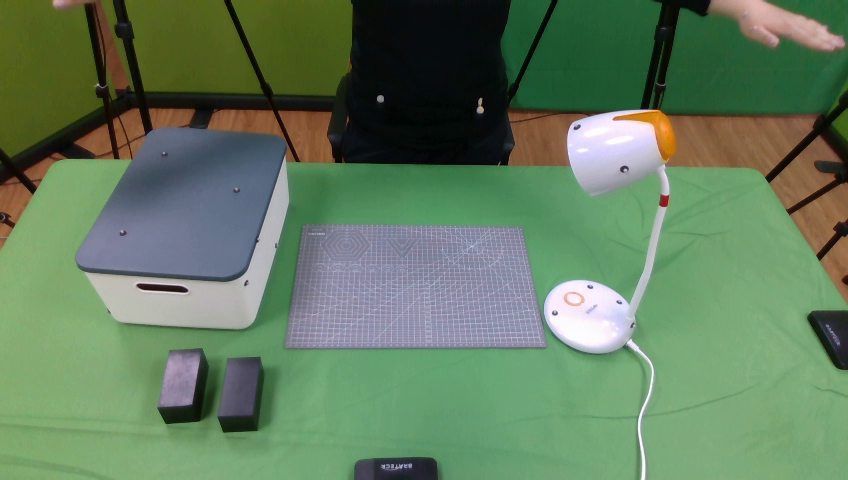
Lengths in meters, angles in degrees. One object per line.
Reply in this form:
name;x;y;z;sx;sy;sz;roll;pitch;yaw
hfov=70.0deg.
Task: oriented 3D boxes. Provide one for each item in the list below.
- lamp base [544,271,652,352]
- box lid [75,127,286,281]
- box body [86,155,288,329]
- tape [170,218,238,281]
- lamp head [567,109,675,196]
lamp base;0.310;0.086;1.029;0.178;0.181;0.160;32;52;21
box lid;-0.398;-0.075;1.039;0.263;0.015;0.369;4;45;-1
box body;-0.401;-0.025;1.094;0.254;0.161;0.362;3;46;-1
tape;-0.406;0.017;1.121;0.117;0.053;0.116;2;46;-2
lamp head;0.272;-0.123;0.818;0.122;0.113;0.112;-9;35;37
